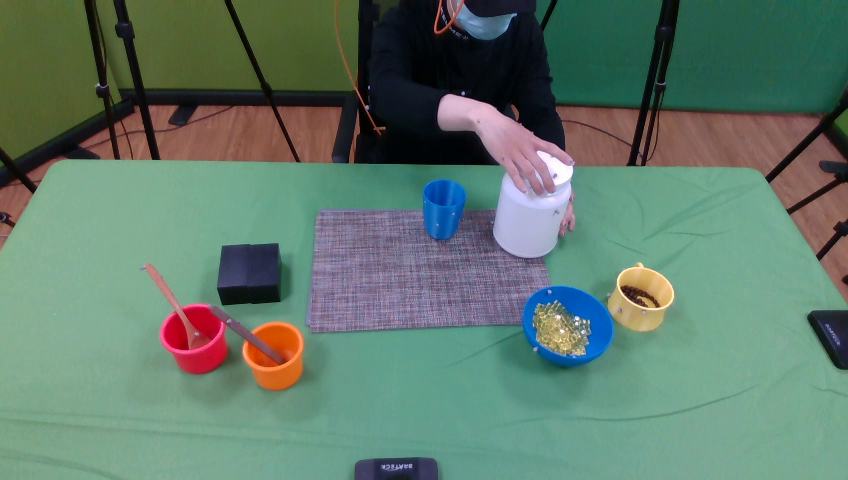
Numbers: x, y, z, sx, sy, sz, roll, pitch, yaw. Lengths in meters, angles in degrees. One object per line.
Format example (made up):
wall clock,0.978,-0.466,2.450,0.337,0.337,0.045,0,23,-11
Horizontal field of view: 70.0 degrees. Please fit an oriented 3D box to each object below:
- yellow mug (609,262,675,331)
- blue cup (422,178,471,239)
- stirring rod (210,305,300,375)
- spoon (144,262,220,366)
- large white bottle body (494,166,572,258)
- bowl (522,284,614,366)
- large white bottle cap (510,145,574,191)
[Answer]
yellow mug,0.393,0.094,1.103,0.100,0.064,0.130,7,45,3
blue cup,0.035,-0.056,1.192,0.093,0.101,0.092,3,45,-3
stirring rod,-0.262,0.158,0.947,0.177,0.006,0.014,43,43,-22
spoon,-0.389,0.118,0.971,0.041,0.021,0.194,-34,101,-33
large white bottle body,0.208,-0.070,1.161,0.131,0.185,0.130,2,46,-2
bowl,0.235,0.158,1.022,0.151,0.077,0.150,2,46,-2
large white bottle cap,0.213,-0.131,1.097,0.115,0.018,0.114,2,47,-2
